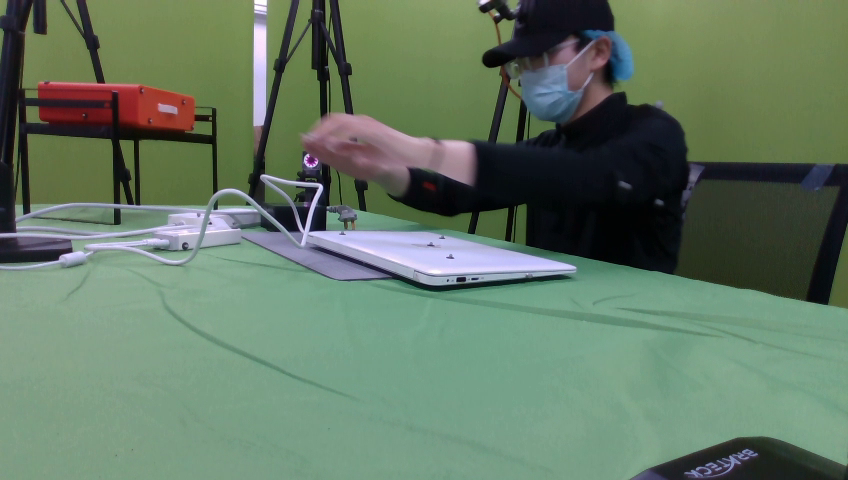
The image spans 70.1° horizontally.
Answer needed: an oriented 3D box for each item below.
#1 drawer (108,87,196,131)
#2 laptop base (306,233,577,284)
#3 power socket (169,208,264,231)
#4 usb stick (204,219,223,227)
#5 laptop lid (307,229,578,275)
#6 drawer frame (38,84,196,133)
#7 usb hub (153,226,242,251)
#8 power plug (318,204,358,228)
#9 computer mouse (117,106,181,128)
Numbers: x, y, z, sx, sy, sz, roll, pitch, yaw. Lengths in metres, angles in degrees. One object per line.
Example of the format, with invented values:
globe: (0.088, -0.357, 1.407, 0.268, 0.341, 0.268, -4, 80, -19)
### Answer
drawer: (-0.609, -0.264, 1.229, 0.211, 0.073, 0.194, 3, 8, 9)
laptop base: (0.007, 0.021, 0.850, 0.237, 0.023, 0.352, 1, 7, -34)
power socket: (-0.381, -0.038, 1.128, 0.072, 0.032, 0.227, 4, 8, 16)
usb stick: (-0.346, -0.018, 1.011, 0.021, 0.027, 0.059, -43, -1, -8)
laptop lid: (0.009, 0.010, 0.850, 0.243, 0.013, 0.355, 0, 8, -32)
drawer frame: (-0.612, -0.265, 1.229, 0.213, 0.082, 0.202, 3, 8, 7)
usb hub: (-0.337, -0.003, 0.907, 0.049, 0.025, 0.125, 6, 9, 28)
power plug: (-0.169, -0.045, 1.207, 0.072, 0.052, 0.035, -10, -11, 0)
computer mouse: (-0.566, -0.252, 1.242, 0.062, 0.041, 0.118, 19, 27, 41)
